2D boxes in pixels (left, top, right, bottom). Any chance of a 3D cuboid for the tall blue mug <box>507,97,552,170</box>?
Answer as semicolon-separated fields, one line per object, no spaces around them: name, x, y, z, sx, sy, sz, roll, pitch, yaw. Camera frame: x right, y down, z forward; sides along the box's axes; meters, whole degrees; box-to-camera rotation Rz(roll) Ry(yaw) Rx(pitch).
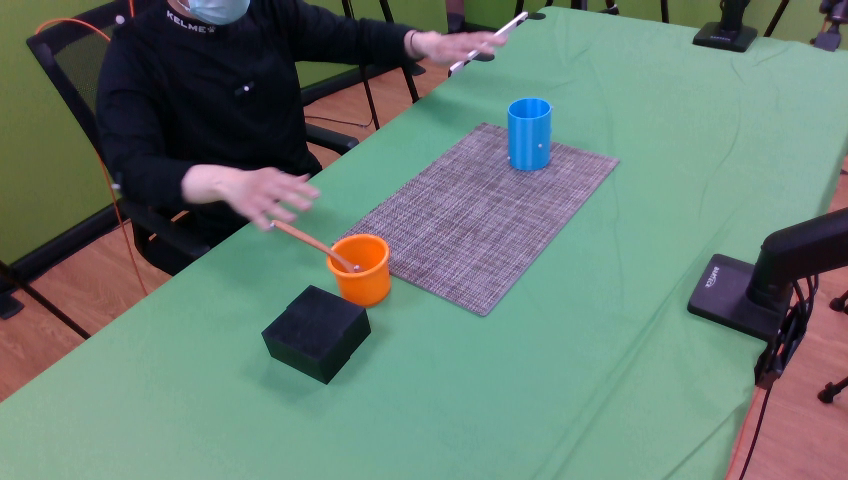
tall blue mug;0.179;-0.199;1.101;0.078;0.108;0.106;-36;49;-28

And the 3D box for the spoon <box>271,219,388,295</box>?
spoon;-0.133;0.022;0.865;0.021;0.195;0.041;-33;29;42
